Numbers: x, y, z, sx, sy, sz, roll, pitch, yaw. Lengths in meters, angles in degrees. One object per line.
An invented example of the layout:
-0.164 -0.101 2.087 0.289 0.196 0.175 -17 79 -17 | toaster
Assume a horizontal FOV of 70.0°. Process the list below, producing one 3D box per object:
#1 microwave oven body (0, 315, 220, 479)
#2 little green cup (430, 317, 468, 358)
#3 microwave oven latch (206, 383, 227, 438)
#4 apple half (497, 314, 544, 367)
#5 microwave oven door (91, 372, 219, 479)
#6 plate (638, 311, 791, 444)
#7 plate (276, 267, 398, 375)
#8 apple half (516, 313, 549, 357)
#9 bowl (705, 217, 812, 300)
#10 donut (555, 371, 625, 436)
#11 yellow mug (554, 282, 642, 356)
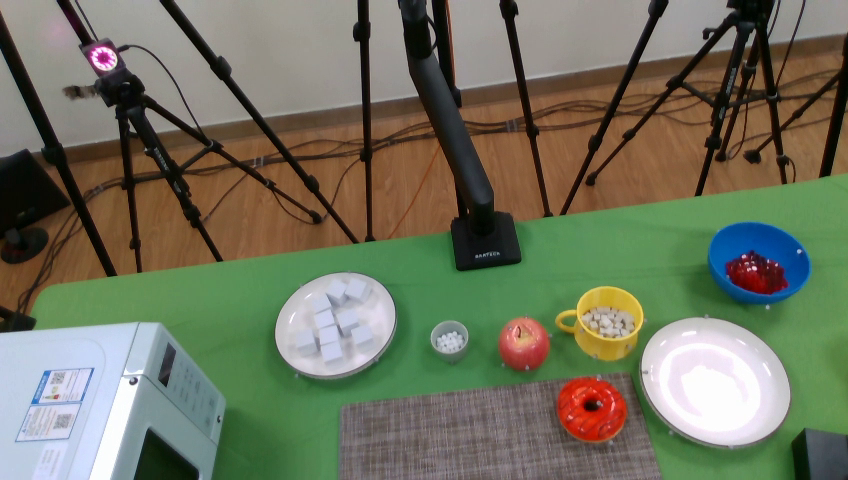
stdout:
-0.481 0.352 0.758 0.326 0.263 0.437 -5 52 4 | microwave oven body
0.042 0.161 0.985 0.061 0.039 0.061 -4 51 6 | little green cup
-0.326 0.262 0.932 0.030 0.030 0.078 -3 52 5 | microwave oven latch
0.143 0.165 0.945 0.053 0.075 0.080 -31 57 -10 | apple half
-0.336 0.369 0.717 0.039 0.246 0.352 -5 51 4 | microwave oven door
0.423 0.203 0.896 0.209 0.038 0.207 -4 51 6 | plate
-0.145 0.139 1.029 0.207 0.039 0.205 -4 51 5 | plate
0.177 0.146 0.954 0.033 0.082 0.080 -31 53 -10 | apple half
0.529 0.043 0.982 0.151 0.077 0.150 -4 51 6 | bowl
0.241 0.238 0.884 0.099 0.049 0.098 -5 52 7 | donut
0.274 0.125 0.962 0.130 0.064 0.099 1 52 10 | yellow mug
